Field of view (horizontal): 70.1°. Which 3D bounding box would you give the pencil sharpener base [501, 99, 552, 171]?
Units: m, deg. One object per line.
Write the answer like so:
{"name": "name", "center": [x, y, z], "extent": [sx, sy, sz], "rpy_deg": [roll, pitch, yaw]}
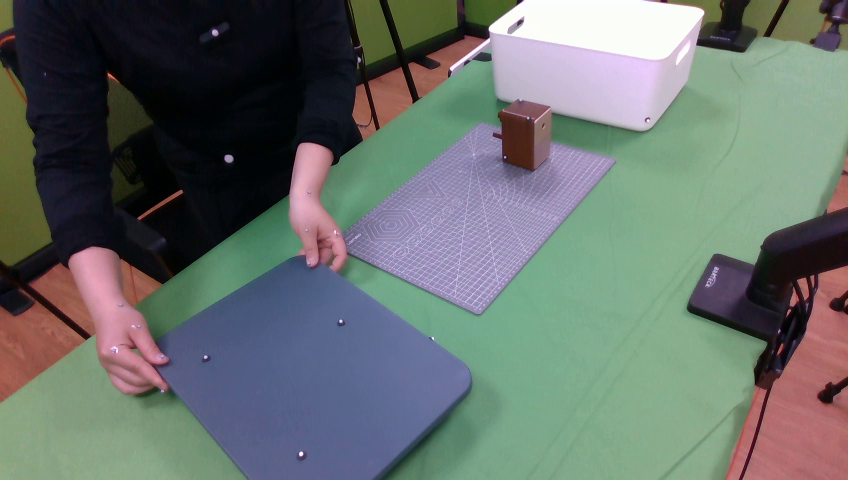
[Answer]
{"name": "pencil sharpener base", "center": [0.184, -0.191, 1.097], "extent": [0.076, 0.107, 0.061], "rpy_deg": [22, 50, 32]}

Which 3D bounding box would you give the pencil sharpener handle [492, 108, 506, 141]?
{"name": "pencil sharpener handle", "center": [0.141, -0.216, 1.114], "extent": [0.030, 0.068, 0.036], "rpy_deg": [22, 42, 32]}

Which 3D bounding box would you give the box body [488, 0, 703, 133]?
{"name": "box body", "center": [0.346, -0.374, 1.251], "extent": [0.361, 0.161, 0.255], "rpy_deg": [20, 48, 29]}

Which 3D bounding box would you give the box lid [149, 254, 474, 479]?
{"name": "box lid", "center": [-0.148, 0.156, 0.750], "extent": [0.368, 0.015, 0.264], "rpy_deg": [29, 51, 36]}
